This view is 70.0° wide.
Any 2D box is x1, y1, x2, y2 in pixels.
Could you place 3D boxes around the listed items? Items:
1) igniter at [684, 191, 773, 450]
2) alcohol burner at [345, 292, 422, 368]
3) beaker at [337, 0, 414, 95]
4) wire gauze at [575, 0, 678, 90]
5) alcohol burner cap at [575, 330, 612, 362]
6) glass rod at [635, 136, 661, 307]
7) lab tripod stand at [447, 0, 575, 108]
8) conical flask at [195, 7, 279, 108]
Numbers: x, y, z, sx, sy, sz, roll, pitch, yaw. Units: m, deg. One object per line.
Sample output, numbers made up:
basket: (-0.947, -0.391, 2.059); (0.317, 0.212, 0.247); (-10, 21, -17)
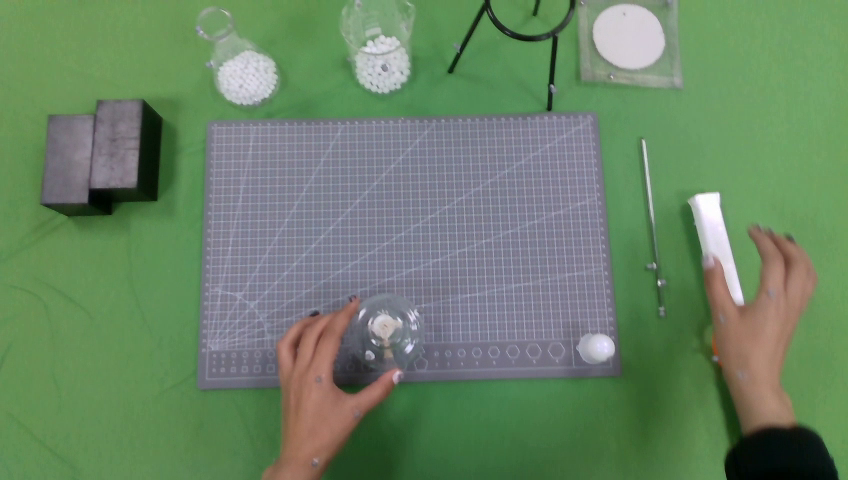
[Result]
igniter: (0.327, 0.081, 0.652); (0.057, 0.025, 0.275); (-6, 79, -13)
alcohol burner: (-0.041, 0.087, 0.600); (0.078, 0.119, 0.077); (0, 76, -1)
beaker: (-0.049, -0.213, 0.669); (0.084, 0.100, 0.073); (-28, 80, -7)
wire gauze: (0.243, -0.241, 0.725); (0.125, 0.011, 0.121); (3, 80, -2)
alcohol burner cap: (0.180, 0.110, 0.634); (0.034, 0.048, 0.033); (0, 77, -2)
glass rod: (0.252, -0.023, 0.682); (0.008, 0.008, 0.199); (-2, 79, -1)
lab tripod stand: (0.099, -0.222, 0.655); (0.148, 0.132, 0.148); (0, 80, 0)
conical flask: (-0.206, -0.200, 0.652); (0.075, 0.122, 0.075); (0, 78, 0)
